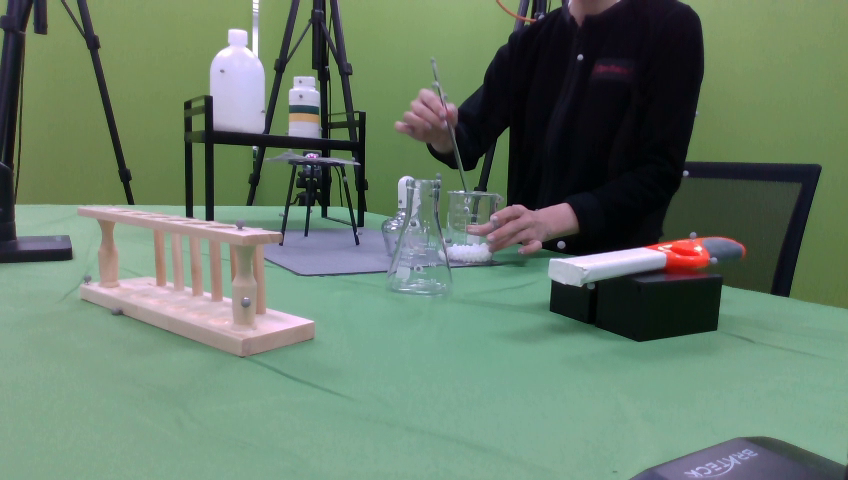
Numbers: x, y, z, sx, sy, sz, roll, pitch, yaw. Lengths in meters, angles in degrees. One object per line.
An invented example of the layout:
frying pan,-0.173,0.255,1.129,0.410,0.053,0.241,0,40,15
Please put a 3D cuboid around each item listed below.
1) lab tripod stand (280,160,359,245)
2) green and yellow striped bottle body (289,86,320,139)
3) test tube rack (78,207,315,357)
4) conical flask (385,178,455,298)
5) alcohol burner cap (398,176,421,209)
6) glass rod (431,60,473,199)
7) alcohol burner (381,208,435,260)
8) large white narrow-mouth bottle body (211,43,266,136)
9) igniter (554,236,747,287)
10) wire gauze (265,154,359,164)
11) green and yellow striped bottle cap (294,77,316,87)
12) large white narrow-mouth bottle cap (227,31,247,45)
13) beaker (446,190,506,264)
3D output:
lab tripod stand,-0.176,-0.062,0.973,0.148,0.131,0.148,1,7,0
green and yellow striped bottle body,-0.249,-0.272,1.259,0.063,0.119,0.063,2,8,0
test tube rack,-0.196,0.023,0.500,0.241,0.085,0.067,8,8,37
conical flask,-0.002,-0.004,0.639,0.075,0.122,0.075,2,7,0
alcohol burner cap,-0.023,-0.068,0.866,0.034,0.048,0.034,-5,8,1
glass rod,0.039,-0.153,0.843,0.008,0.199,0.008,-16,4,2
alcohol burner,-0.023,-0.032,0.871,0.078,0.119,0.078,1,6,0
large white narrow-mouth bottle body,-0.361,-0.303,1.176,0.102,0.194,0.102,1,7,0
igniter,0.221,0.017,0.558,0.278,0.025,0.057,-5,15,-39
wire gauze,-0.181,-0.129,0.969,0.126,0.011,0.121,-1,7,-27
green and yellow striped bottle cap,-0.247,-0.326,1.251,0.045,0.020,0.045,0,10,0
large white narrow-mouth bottle cap,-0.361,-0.388,1.165,0.038,0.024,0.037,1,7,0
beaker,0.071,-0.019,0.855,0.084,0.100,0.074,3,8,-1
